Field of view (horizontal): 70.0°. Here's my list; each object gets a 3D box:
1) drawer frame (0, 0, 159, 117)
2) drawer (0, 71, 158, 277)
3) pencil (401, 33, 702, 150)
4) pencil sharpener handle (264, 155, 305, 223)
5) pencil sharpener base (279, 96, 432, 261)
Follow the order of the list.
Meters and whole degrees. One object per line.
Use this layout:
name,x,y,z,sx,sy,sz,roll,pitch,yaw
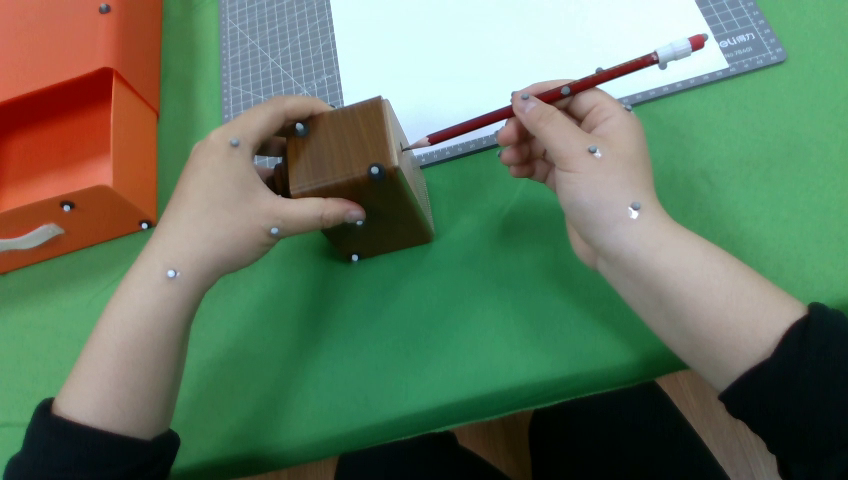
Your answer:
drawer frame,-0.365,-0.186,0.586,0.201,0.083,0.211,-17,62,7
drawer,-0.340,-0.084,0.534,0.194,0.074,0.209,-17,62,7
pencil,0.076,-0.090,0.379,0.194,0.012,0.012,-19,62,8
pencil sharpener handle,-0.097,-0.030,0.417,0.030,0.068,0.035,-15,67,8
pencil sharpener base,-0.045,-0.037,0.420,0.076,0.108,0.061,-15,63,8
